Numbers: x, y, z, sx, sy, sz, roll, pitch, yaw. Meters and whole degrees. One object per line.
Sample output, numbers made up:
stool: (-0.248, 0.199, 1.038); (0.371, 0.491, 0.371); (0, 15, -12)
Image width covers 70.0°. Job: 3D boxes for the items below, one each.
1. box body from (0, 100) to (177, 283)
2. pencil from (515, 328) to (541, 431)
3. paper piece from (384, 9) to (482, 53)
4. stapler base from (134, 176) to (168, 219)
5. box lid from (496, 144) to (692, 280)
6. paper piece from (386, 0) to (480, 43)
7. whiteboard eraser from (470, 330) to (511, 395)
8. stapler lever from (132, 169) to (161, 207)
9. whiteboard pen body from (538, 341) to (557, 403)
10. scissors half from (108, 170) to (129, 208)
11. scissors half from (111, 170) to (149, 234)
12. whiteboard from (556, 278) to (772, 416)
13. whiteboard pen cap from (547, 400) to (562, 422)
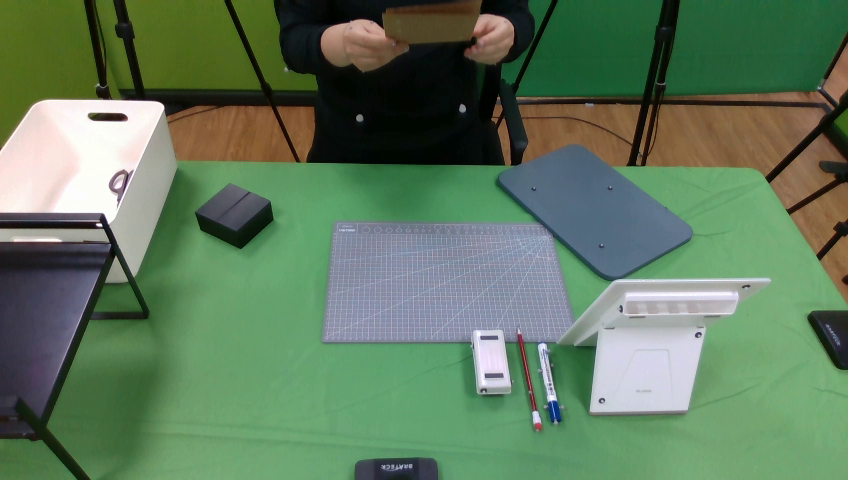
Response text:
box body: (-0.639, -0.095, 1.140); (0.254, 0.161, 0.361); (1, 46, -4)
pencil: (0.169, 0.224, 1.002); (0.012, 0.012, 0.192); (-1, 46, -6)
paper piece: (0.011, -0.307, 0.897); (0.136, 0.138, 0.008); (8, 87, -1)
stapler base: (-0.558, -0.093, 1.234); (0.041, 0.024, 0.129); (1, 42, -8)
box lid: (0.360, -0.073, 1.305); (0.263, 0.015, 0.369); (-24, 52, -25)
paper piece: (0.010, -0.326, 0.901); (0.135, 0.136, 0.004); (-6, 85, -3)
whiteboard eraser: (0.110, 0.202, 0.998); (0.055, 0.042, 0.112); (1, 46, -5)
stapler lever: (-0.557, -0.113, 1.218); (0.027, 0.040, 0.117); (1, 42, -8)
whiteboard pen body: (0.205, 0.228, 0.997); (0.017, 0.017, 0.140); (1, 46, -3)
scissors half: (-0.617, -0.077, 1.222); (0.040, 0.013, 0.174); (-15, 52, -7)
scissors half: (-0.596, -0.078, 1.223); (0.040, 0.013, 0.174); (5, 51, 2)
whiteboard: (0.347, 0.174, 0.903); (0.217, 0.306, 0.143); (1, 65, -4)
whiteboard pen cap: (0.205, 0.269, 0.956); (0.018, 0.018, 0.033); (0, 47, -5)
